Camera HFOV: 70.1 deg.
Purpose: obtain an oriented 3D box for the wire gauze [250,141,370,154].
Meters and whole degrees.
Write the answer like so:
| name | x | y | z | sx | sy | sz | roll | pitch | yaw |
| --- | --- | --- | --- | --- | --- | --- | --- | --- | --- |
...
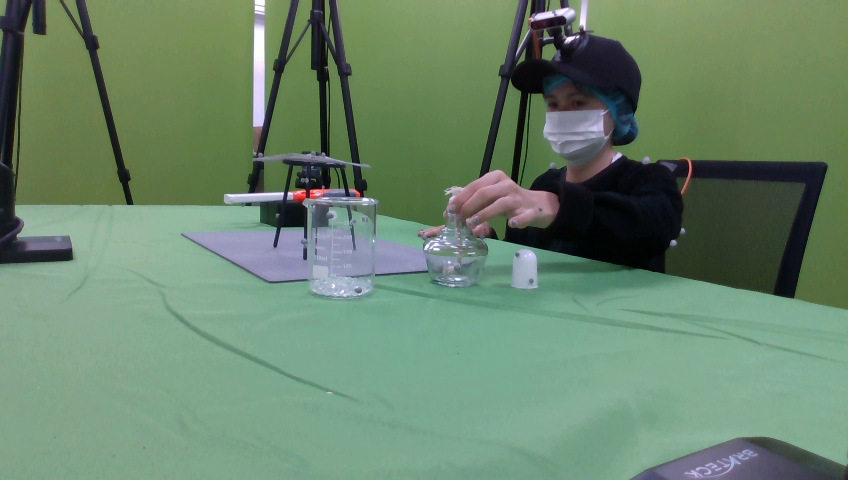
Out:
| name | x | y | z | sx | sy | sz | roll | pitch | yaw |
| --- | --- | --- | --- | --- | --- | --- | --- | --- | --- |
| wire gauze | -0.163 | -0.131 | 0.867 | 0.124 | 0.011 | 0.122 | -1 | 8 | 32 |

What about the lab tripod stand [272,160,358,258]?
| name | x | y | z | sx | sy | sz | roll | pitch | yaw |
| --- | --- | --- | --- | --- | --- | --- | --- | --- | --- |
| lab tripod stand | -0.159 | -0.048 | 0.876 | 0.148 | 0.131 | 0.148 | 3 | 5 | 0 |

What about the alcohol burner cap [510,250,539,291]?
| name | x | y | z | sx | sy | sz | roll | pitch | yaw |
| --- | --- | --- | --- | --- | --- | --- | --- | --- | --- |
| alcohol burner cap | 0.118 | 0.035 | 0.703 | 0.034 | 0.048 | 0.034 | 0 | 8 | 0 |

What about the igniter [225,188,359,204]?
| name | x | y | z | sx | sy | sz | roll | pitch | yaw |
| --- | --- | --- | --- | --- | --- | --- | --- | --- | --- |
| igniter | -0.264 | -0.089 | 1.239 | 0.278 | 0.025 | 0.057 | -5 | 12 | -32 |

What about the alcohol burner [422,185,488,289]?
| name | x | y | z | sx | sy | sz | roll | pitch | yaw |
| --- | --- | --- | --- | --- | --- | --- | --- | --- | --- |
| alcohol burner | 0.036 | -0.004 | 0.705 | 0.078 | 0.119 | 0.078 | 0 | 7 | 0 |

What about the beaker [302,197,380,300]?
| name | x | y | z | sx | sy | sz | roll | pitch | yaw |
| --- | --- | --- | --- | --- | --- | --- | --- | --- | --- |
| beaker | -0.089 | 0.007 | 0.625 | 0.084 | 0.100 | 0.074 | 4 | 7 | 16 |
